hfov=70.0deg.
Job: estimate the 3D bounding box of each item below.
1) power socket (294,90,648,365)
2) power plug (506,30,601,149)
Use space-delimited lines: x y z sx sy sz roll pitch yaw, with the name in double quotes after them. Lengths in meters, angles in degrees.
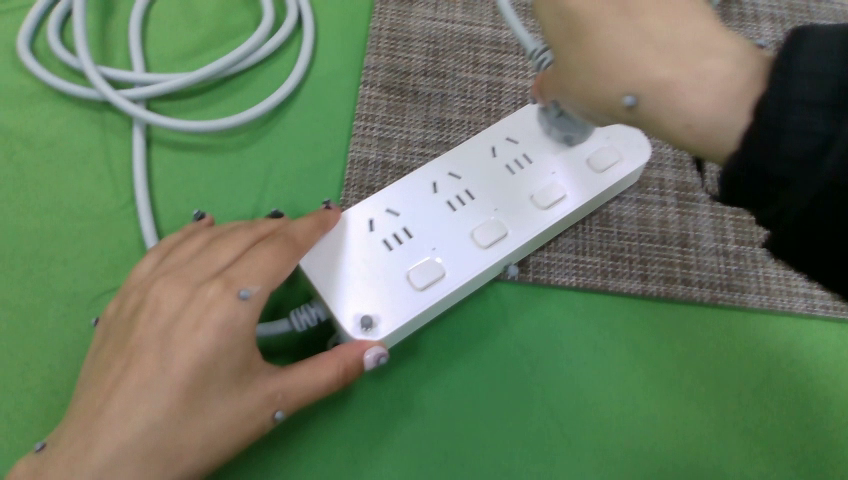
0.031 -0.016 0.343 0.227 0.033 0.071 -32 71 -17 "power socket"
0.075 -0.085 0.354 0.035 0.053 0.072 -21 69 -14 "power plug"
